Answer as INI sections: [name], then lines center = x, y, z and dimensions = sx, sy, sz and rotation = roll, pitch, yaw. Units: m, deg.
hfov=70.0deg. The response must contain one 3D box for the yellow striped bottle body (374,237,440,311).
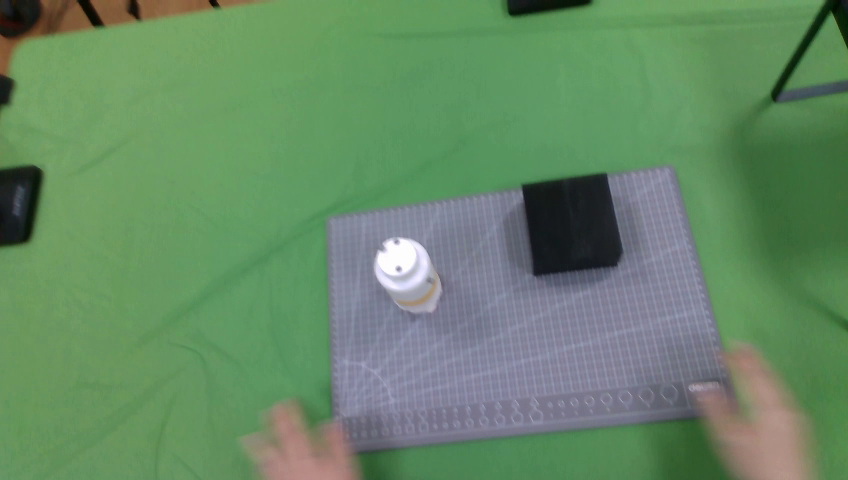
[yellow striped bottle body]
center = -0.019, 0.037, 0.697
dimensions = 0.063, 0.121, 0.062
rotation = -3, 69, 8

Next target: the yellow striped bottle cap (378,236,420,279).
[yellow striped bottle cap]
center = -0.027, 0.018, 0.649
dimensions = 0.044, 0.019, 0.044
rotation = -4, 69, 11
